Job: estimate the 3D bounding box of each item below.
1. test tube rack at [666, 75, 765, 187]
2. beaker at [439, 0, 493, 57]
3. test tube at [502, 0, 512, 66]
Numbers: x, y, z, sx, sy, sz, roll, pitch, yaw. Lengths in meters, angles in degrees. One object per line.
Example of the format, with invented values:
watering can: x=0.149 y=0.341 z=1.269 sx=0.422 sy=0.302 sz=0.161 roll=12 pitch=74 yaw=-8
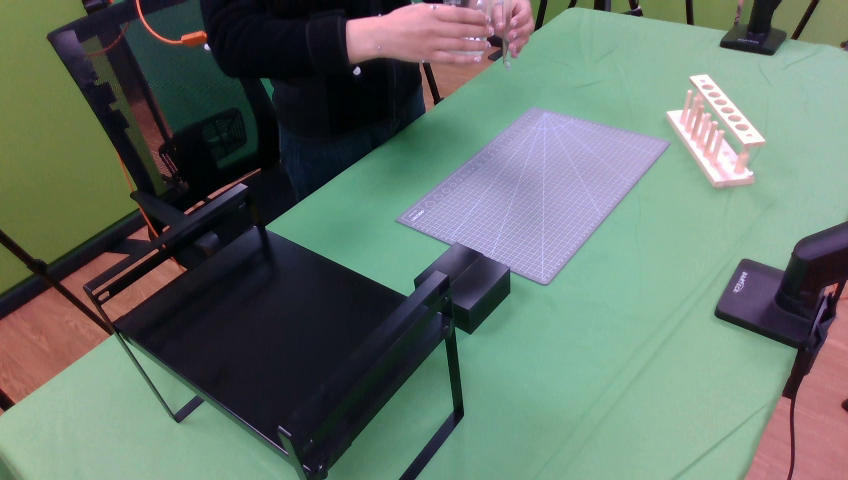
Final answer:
test tube rack: x=0.512 y=-0.201 z=1.082 sx=0.067 sy=0.085 sz=0.241 roll=-6 pitch=41 yaw=2
beaker: x=0.063 y=-0.326 z=0.881 sx=0.084 sy=0.100 sz=0.073 roll=-21 pitch=42 yaw=-37
test tube: x=0.134 y=-0.349 z=0.981 sx=0.017 sy=0.151 sz=0.017 roll=-4 pitch=49 yaw=5
